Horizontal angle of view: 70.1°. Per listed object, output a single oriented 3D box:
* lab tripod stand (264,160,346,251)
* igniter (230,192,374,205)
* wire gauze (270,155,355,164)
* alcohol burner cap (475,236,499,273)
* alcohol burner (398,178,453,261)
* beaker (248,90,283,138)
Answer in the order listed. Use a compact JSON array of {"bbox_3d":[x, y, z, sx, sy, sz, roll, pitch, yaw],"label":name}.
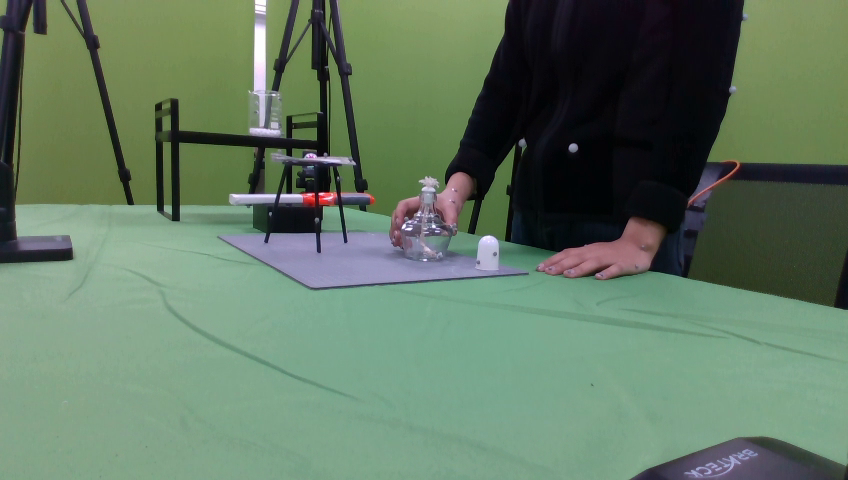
[{"bbox_3d":[-0.177,-0.056,0.930,0.148,0.131,0.148,1,9,0],"label":"lab tripod stand"},{"bbox_3d":[-0.228,-0.079,1.164,0.278,0.025,0.057,-2,14,-30],"label":"igniter"},{"bbox_3d":[-0.174,-0.123,0.925,0.125,0.011,0.121,0,8,-12],"label":"wire gauze"},{"bbox_3d":[0.084,0.019,0.799,0.034,0.048,0.034,2,6,0],"label":"alcohol burner cap"},{"bbox_3d":[0.004,-0.029,0.860,0.078,0.119,0.078,4,7,0],"label":"alcohol burner"},{"bbox_3d":[-0.354,-0.278,1.340,0.074,0.100,0.084,6,9,26],"label":"beaker"}]
